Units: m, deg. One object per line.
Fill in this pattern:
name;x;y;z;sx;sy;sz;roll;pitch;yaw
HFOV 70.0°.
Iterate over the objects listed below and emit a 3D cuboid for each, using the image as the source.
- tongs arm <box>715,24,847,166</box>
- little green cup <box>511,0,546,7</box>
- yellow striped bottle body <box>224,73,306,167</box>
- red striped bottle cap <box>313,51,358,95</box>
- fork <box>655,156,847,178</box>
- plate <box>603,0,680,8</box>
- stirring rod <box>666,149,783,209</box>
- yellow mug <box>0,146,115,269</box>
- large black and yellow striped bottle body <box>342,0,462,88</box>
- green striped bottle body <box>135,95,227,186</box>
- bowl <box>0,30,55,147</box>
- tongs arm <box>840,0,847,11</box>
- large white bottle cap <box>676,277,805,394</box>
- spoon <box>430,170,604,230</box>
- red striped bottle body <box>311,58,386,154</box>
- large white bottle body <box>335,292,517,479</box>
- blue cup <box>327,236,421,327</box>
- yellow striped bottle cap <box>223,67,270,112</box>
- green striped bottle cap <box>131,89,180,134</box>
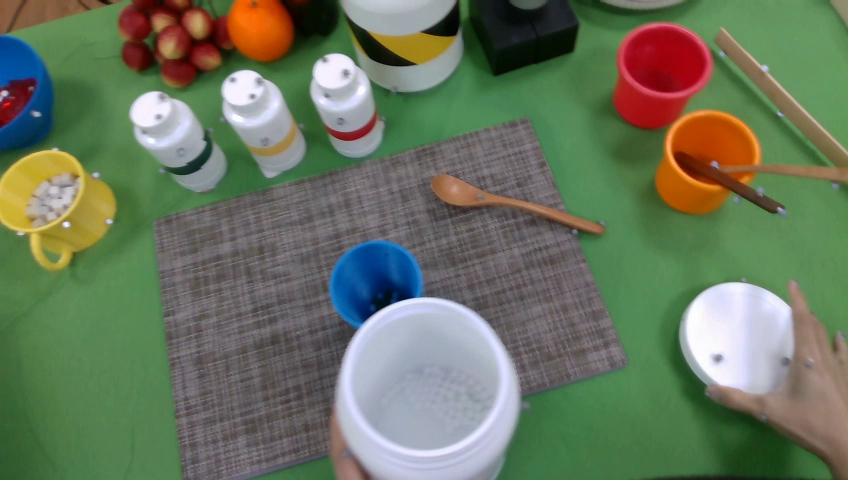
tongs arm;0.455;-0.101;0.647;0.051;0.027;0.382;-28;70;-8
little green cup;0.121;-0.301;0.696;0.061;0.039;0.061;-1;67;3
yellow striped bottle body;-0.176;-0.135;0.665;0.063;0.121;0.062;-2;69;5
red striped bottle cap;-0.090;-0.170;0.616;0.044;0.018;0.044;0;66;1
fork;0.316;-0.070;0.584;0.028;0.205;0.019;-36;114;-23
plate;0.271;-0.374;0.766;0.209;0.038;0.207;-1;69;4
stirring rod;0.287;-0.063;0.592;0.014;0.006;0.174;-14;25;-4
yellow mug;-0.411;-0.032;0.673;0.100;0.064;0.130;-6;69;1
large black and yellow striped bottle body;-0.025;-0.273;0.672;0.131;0.185;0.130;-2;68;4
green striped bottle body;-0.268;-0.112;0.664;0.063;0.120;0.062;-2;68;4
bowl;-0.507;-0.166;0.727;0.151;0.077;0.150;-1;69;3
tongs arm;0.536;-0.135;0.654;0.028;0.028;0.384;-12;69;-6
large white bottle cap;0.303;0.090;0.581;0.115;0.018;0.114;-1;64;2
spoon;0.099;-0.041;0.656;0.193;0.022;0.041;14;46;9
red striped bottle body;-0.083;-0.150;0.664;0.063;0.120;0.062;-3;67;8
large white bottle body;0.003;0.127;0.472;0.130;0.186;0.129;-1;60;2
blue cup;-0.042;0.054;0.587;0.092;0.101;0.092;-1;68;3
yellow striped bottle cap;-0.181;-0.154;0.617;0.044;0.019;0.044;-1;70;3
green striped bottle cap;-0.273;-0.131;0.616;0.044;0.020;0.044;-1;67;4
